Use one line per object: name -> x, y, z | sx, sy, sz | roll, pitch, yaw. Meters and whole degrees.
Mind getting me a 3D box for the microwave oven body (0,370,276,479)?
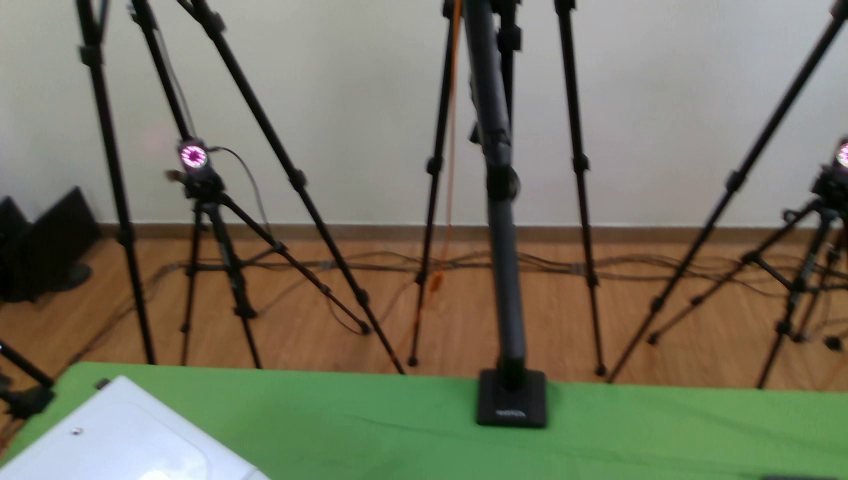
microwave oven body -> -0.415, 0.433, 0.719 | 0.323, 0.262, 0.440 | 21, 47, 28
